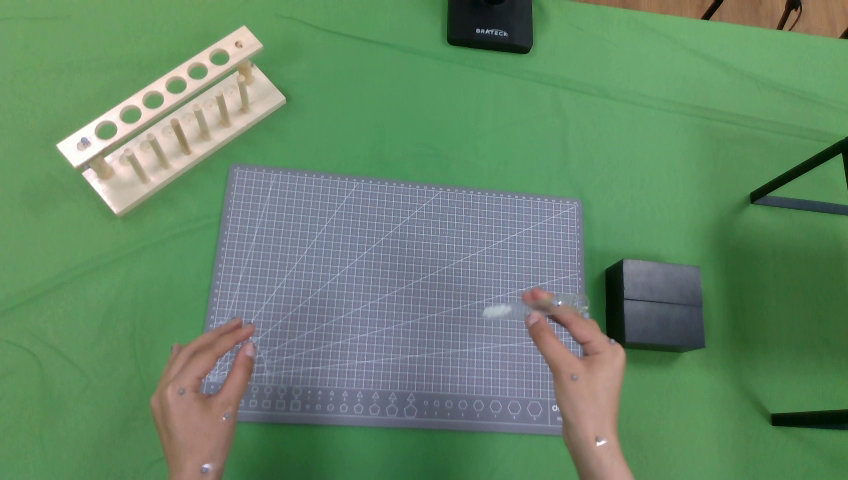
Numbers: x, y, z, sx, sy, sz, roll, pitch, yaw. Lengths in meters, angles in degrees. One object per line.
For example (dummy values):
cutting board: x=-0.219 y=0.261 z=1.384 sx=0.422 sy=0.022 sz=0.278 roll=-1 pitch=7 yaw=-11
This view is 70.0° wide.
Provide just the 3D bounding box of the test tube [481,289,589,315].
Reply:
test tube: x=0.097 y=0.059 z=0.561 sx=0.017 sy=0.150 sz=0.017 roll=5 pitch=79 yaw=-26

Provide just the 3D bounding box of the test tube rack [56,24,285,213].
test tube rack: x=-0.280 y=-0.140 z=0.701 sx=0.242 sy=0.085 sz=0.066 roll=-40 pitch=83 yaw=-18
